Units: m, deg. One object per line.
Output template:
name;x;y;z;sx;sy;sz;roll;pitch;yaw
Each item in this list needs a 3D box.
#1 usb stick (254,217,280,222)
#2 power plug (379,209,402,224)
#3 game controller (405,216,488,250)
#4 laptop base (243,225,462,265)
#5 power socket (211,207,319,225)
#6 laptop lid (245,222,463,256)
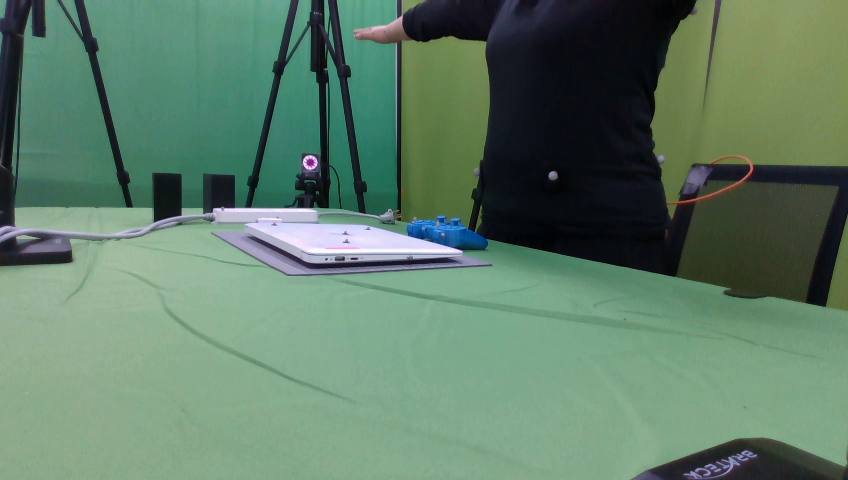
usb stick;-0.296;-0.028;1.114;0.059;0.027;0.021;-4;12;-30
power plug;-0.081;-0.061;1.421;0.053;0.035;0.072;-16;21;-6
game controller;0.034;-0.013;1.067;0.097;0.051;0.154;-6;10;-29
laptop base;-0.129;0.007;0.952;0.237;0.023;0.352;2;6;-30
power socket;-0.335;-0.051;1.281;0.228;0.032;0.072;-2;9;-29
laptop lid;-0.126;-0.005;0.951;0.243;0.013;0.355;1;7;-28
